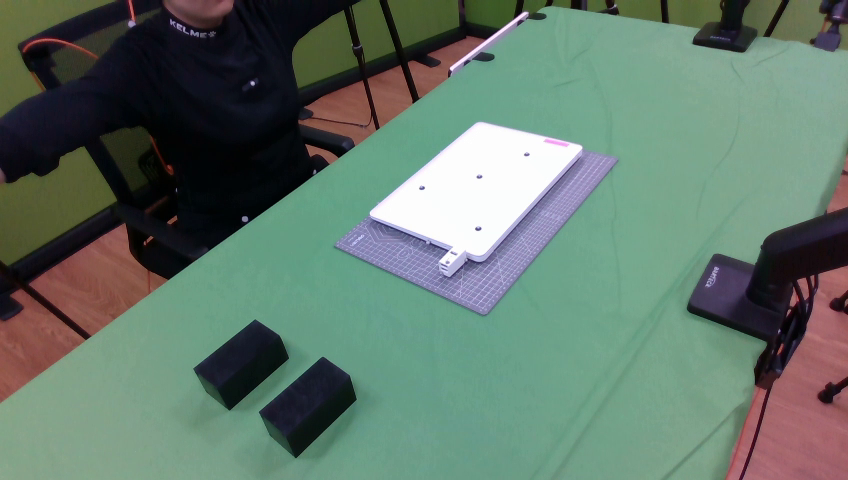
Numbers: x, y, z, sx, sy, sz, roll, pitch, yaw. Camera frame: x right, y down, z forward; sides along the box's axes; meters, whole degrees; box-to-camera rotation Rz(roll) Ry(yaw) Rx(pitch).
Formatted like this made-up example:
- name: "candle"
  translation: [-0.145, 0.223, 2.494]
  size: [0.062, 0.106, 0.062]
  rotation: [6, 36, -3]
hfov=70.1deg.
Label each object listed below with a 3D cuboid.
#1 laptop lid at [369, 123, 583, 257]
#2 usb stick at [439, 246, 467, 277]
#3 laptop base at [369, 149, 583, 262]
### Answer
- name: "laptop lid"
  translation: [0.097, -0.106, 1.065]
  size: [0.239, 0.013, 0.358]
  rotation: [22, 48, 33]
- name: "usb stick"
  translation: [0.048, 0.028, 0.913]
  size: [0.021, 0.027, 0.059]
  rotation: [23, 47, 31]
- name: "laptop base"
  translation: [0.101, -0.097, 1.071]
  size: [0.233, 0.023, 0.355]
  rotation: [19, 47, 32]
